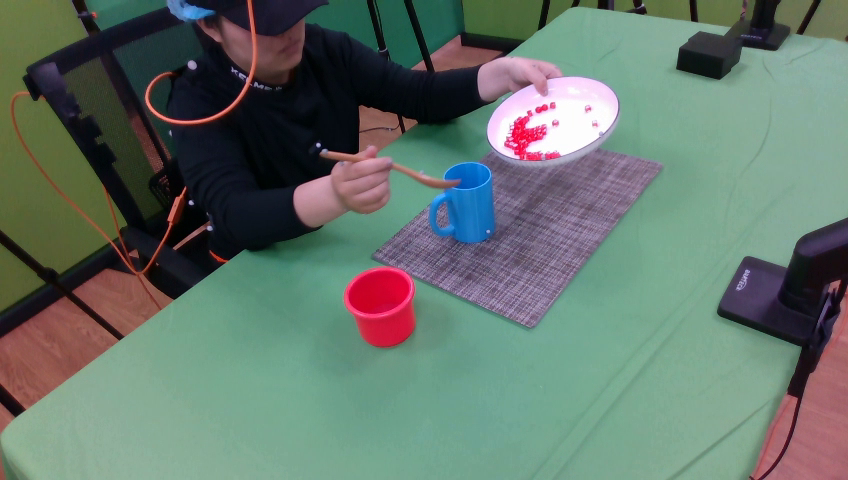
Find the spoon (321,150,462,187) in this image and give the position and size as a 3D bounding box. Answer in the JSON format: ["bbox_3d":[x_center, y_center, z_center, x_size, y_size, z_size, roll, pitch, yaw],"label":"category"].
[{"bbox_3d":[-0.039,-0.095,0.795,0.195,0.021,0.041,13,0,-20],"label":"spoon"}]

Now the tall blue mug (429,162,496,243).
[{"bbox_3d":[0.067,-0.051,0.960,0.077,0.108,0.107,17,47,28],"label":"tall blue mug"}]

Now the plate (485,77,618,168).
[{"bbox_3d":[0.202,-0.182,0.962,0.207,0.039,0.206,-13,45,13],"label":"plate"}]
